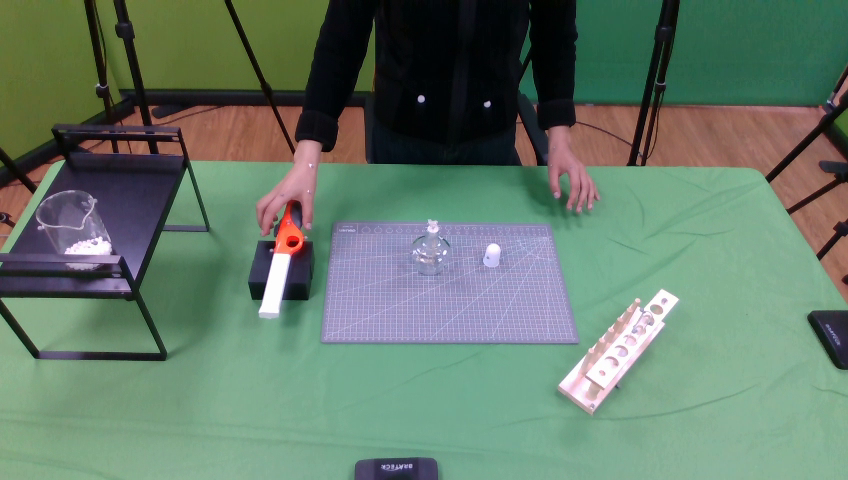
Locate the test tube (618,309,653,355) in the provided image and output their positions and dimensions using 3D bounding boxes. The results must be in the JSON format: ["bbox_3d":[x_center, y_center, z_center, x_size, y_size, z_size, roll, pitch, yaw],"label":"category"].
[{"bbox_3d":[0.329,0.155,0.956,0.017,0.151,0.017,2,51,-2],"label":"test tube"}]

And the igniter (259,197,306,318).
[{"bbox_3d":[-0.252,0.021,1.088,0.057,0.025,0.275,5,48,-3],"label":"igniter"}]

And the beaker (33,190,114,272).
[{"bbox_3d":[-0.493,-0.009,0.865,0.083,0.101,0.074,37,55,27],"label":"beaker"}]

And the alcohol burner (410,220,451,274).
[{"bbox_3d":[0.013,0.007,1.120,0.078,0.120,0.077,1,48,-1],"label":"alcohol burner"}]

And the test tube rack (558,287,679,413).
[{"bbox_3d":[0.326,0.170,1.009,0.066,0.085,0.242,36,54,27],"label":"test tube rack"}]

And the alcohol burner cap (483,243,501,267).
[{"bbox_3d":[0.132,0.025,1.161,0.034,0.048,0.033,3,46,-3],"label":"alcohol burner cap"}]
